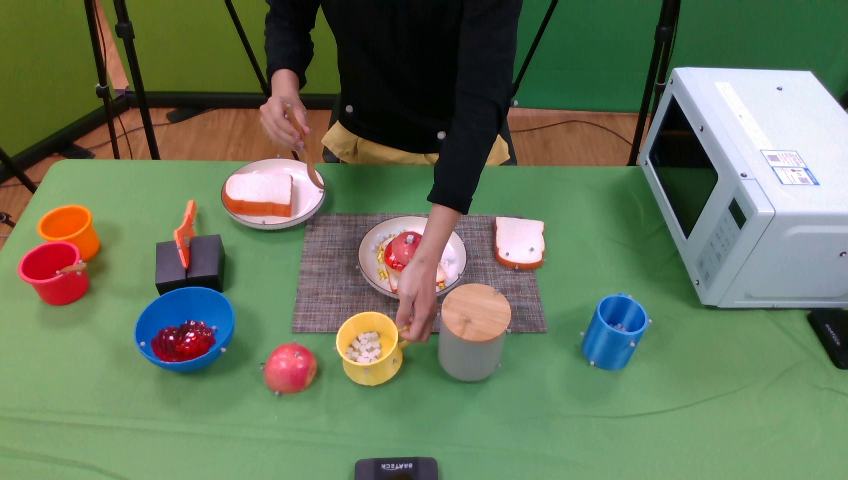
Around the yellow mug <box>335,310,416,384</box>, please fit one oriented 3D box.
[{"bbox_3d":[-0.074,0.167,0.980,0.131,0.064,0.099,-19,50,-13],"label":"yellow mug"}]

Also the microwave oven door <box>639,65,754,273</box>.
[{"bbox_3d":[0.522,-0.147,1.192,0.039,0.245,0.353,0,47,-3],"label":"microwave oven door"}]

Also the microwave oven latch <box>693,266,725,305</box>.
[{"bbox_3d":[0.523,0.082,1.115,0.030,0.029,0.078,3,46,0],"label":"microwave oven latch"}]

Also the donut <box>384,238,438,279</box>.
[{"bbox_3d":[-0.024,0.030,1.109,0.099,0.048,0.098,3,45,-3],"label":"donut"}]

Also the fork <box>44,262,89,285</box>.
[{"bbox_3d":[-0.598,0.054,1.014,0.207,0.019,0.028,-15,29,45],"label":"fork"}]

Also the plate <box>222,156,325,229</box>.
[{"bbox_3d":[-0.308,-0.095,1.251,0.209,0.038,0.208,2,46,-2],"label":"plate"}]

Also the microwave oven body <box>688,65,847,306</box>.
[{"bbox_3d":[0.669,-0.111,1.176,0.326,0.261,0.439,0,46,-3],"label":"microwave oven body"}]

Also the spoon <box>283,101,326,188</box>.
[{"bbox_3d":[-0.206,-0.161,1.047,0.021,0.195,0.041,-30,49,-17],"label":"spoon"}]

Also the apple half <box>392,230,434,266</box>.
[{"bbox_3d":[-0.020,0.005,1.083,0.081,0.033,0.081,6,47,-7],"label":"apple half"}]

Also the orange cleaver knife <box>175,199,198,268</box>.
[{"bbox_3d":[-0.438,-0.017,1.138,0.012,0.077,0.210,-14,27,-7],"label":"orange cleaver knife"}]

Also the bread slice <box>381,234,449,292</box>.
[{"bbox_3d":[-0.026,0.039,1.140,0.107,0.018,0.133,-12,49,-16],"label":"bread slice"}]

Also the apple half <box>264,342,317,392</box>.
[{"bbox_3d":[-0.214,0.198,0.970,0.074,0.053,0.080,19,48,10],"label":"apple half"}]

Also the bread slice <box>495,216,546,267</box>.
[{"bbox_3d":[0.194,0.002,1.205,0.105,0.019,0.131,5,45,2],"label":"bread slice"}]

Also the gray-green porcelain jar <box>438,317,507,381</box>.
[{"bbox_3d":[0.076,0.158,0.977,0.106,0.127,0.105,2,47,-2],"label":"gray-green porcelain jar"}]

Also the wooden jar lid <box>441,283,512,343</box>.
[{"bbox_3d":[0.080,0.114,0.931,0.108,0.021,0.107,1,49,0],"label":"wooden jar lid"}]

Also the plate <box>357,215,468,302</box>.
[{"bbox_3d":[-0.022,0.037,1.141,0.208,0.039,0.206,2,46,-2],"label":"plate"}]

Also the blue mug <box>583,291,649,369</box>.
[{"bbox_3d":[0.324,0.142,1.023,0.082,0.106,0.116,15,47,11],"label":"blue mug"}]

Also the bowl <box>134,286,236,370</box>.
[{"bbox_3d":[-0.377,0.155,0.981,0.151,0.077,0.150,2,46,-2],"label":"bowl"}]
